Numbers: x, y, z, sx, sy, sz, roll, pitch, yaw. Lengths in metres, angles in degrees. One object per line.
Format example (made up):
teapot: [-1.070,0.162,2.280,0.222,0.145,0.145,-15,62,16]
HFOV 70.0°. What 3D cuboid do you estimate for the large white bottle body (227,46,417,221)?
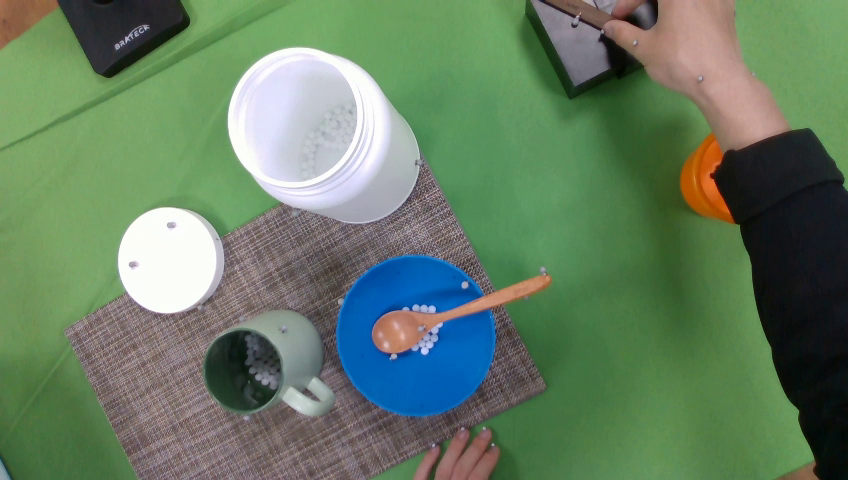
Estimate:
large white bottle body: [-0.085,-0.089,0.546,0.130,0.185,0.130,0,87,9]

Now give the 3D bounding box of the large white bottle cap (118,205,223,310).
large white bottle cap: [-0.275,0.020,0.657,0.114,0.018,0.114,0,90,8]

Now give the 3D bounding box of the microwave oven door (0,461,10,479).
microwave oven door: [-0.448,0.354,0.559,0.039,0.244,0.355,-31,87,7]

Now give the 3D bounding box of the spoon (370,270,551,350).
spoon: [0.029,0.065,0.559,0.193,0.022,0.041,-22,91,31]

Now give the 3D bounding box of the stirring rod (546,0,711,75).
stirring rod: [0.177,-0.193,0.549,0.176,0.006,0.014,28,130,6]

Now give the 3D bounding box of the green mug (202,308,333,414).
green mug: [-0.144,0.126,0.598,0.125,0.105,0.092,35,94,6]

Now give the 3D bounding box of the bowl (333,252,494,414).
bowl: [-0.005,0.085,0.593,0.151,0.077,0.151,0,91,8]
